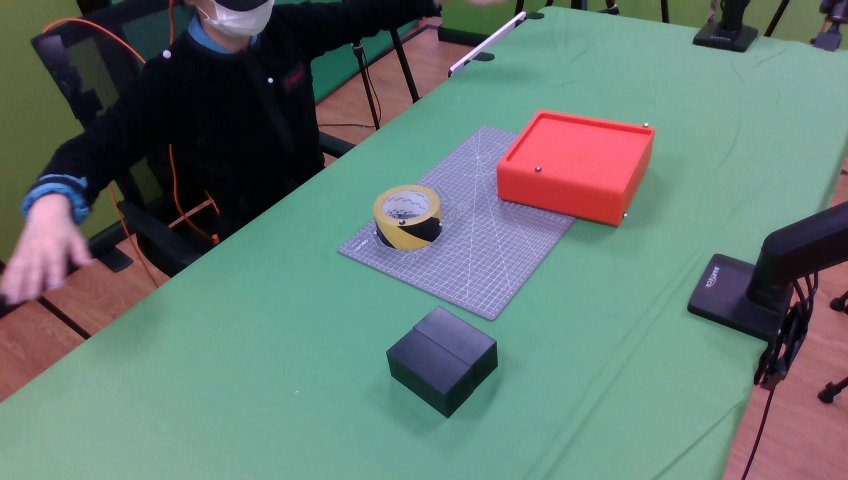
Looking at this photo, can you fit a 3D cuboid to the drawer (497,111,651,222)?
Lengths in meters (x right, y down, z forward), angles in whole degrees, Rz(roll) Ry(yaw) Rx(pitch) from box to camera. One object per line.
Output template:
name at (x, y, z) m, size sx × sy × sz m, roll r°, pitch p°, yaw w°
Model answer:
drawer at (0.257, -0.132, 1.034) m, size 0.210 × 0.073 × 0.195 m, roll 16°, pitch 45°, yaw 24°

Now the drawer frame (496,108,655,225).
drawer frame at (0.259, -0.132, 1.034) m, size 0.212 × 0.083 × 0.202 m, roll 16°, pitch 45°, yaw 24°

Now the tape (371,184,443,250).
tape at (-0.028, -0.039, 0.990) m, size 0.117 × 0.053 × 0.116 m, roll -4°, pitch 40°, yaw 4°
